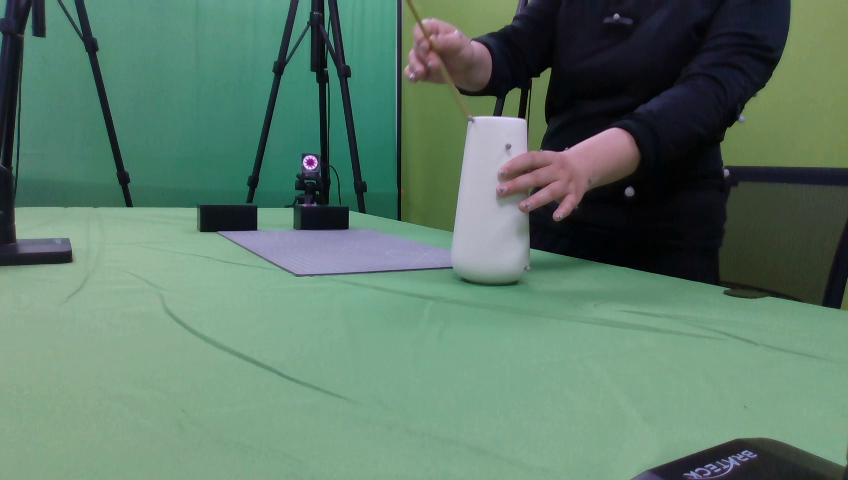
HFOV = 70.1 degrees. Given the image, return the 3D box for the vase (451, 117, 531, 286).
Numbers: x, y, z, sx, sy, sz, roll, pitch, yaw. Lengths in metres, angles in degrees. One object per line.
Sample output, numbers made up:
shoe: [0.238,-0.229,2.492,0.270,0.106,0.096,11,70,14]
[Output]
vase: [0.083,-0.047,0.737,0.098,0.200,0.098,1,6,0]

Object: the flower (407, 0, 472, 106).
flower: [-0.005,-0.264,0.725,0.038,0.044,0.363,13,-16,29]
